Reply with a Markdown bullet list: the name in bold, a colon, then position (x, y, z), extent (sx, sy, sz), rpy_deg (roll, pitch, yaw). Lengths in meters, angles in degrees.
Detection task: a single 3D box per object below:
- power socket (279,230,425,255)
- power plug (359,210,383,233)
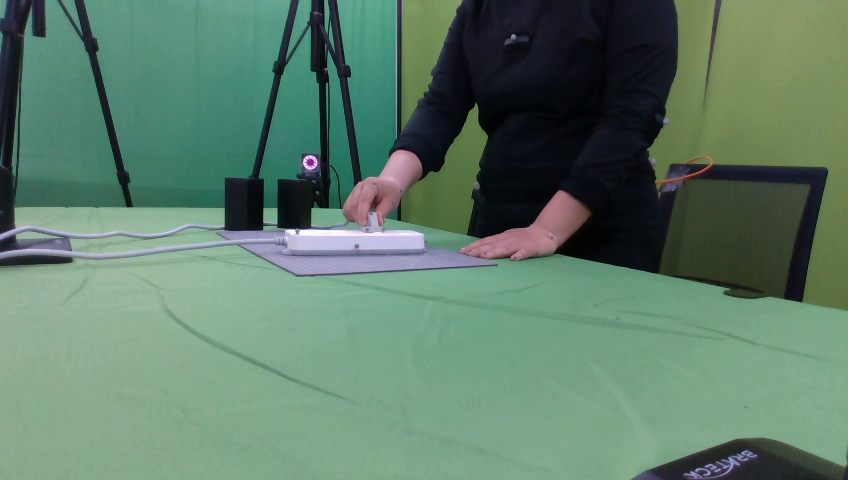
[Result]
- **power socket**: position (-0.106, 0.002, 0.920), extent (0.228, 0.032, 0.072), rpy_deg (0, 7, -22)
- **power plug**: position (-0.084, -0.020, 0.957), extent (0.035, 0.052, 0.072), rpy_deg (1, 7, -10)
